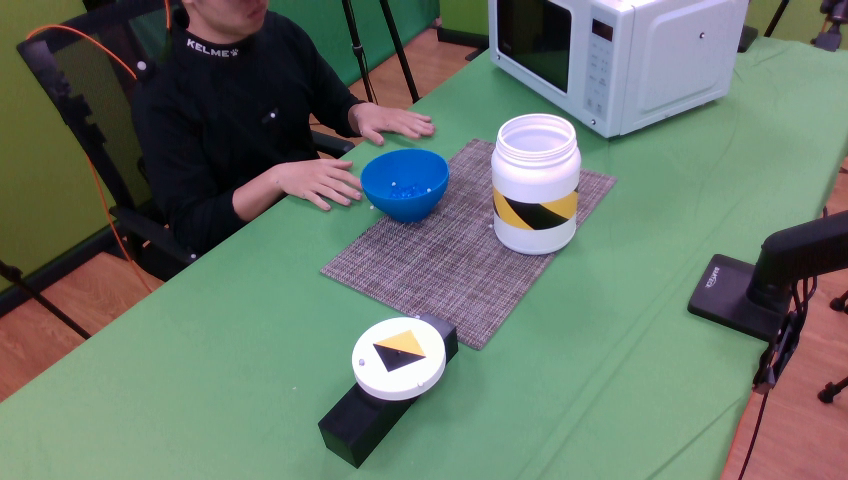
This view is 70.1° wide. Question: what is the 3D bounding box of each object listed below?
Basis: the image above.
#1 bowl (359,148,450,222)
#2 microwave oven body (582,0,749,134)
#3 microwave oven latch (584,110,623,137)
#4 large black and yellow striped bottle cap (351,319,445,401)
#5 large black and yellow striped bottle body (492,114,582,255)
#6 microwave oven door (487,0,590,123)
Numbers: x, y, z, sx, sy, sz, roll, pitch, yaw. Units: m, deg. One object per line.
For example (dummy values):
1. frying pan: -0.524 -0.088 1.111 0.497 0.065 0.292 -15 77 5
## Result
1. bowl: -0.029 -0.083 1.022 0.151 0.077 0.150 -4 40 4
2. microwave oven body: 0.382 -0.444 1.246 0.327 0.261 0.437 -22 42 -16
3. microwave oven latch: 0.337 -0.222 1.142 0.030 0.029 0.078 -21 42 -14
4. large black and yellow striped bottle cap: -0.031 0.143 0.735 0.115 0.019 0.114 -3 40 3
5. large black and yellow striped bottle body: 0.169 -0.083 0.912 0.131 0.185 0.130 -4 41 4
6. microwave oven door: 0.232 -0.420 1.230 0.039 0.245 0.352 -22 43 -16
